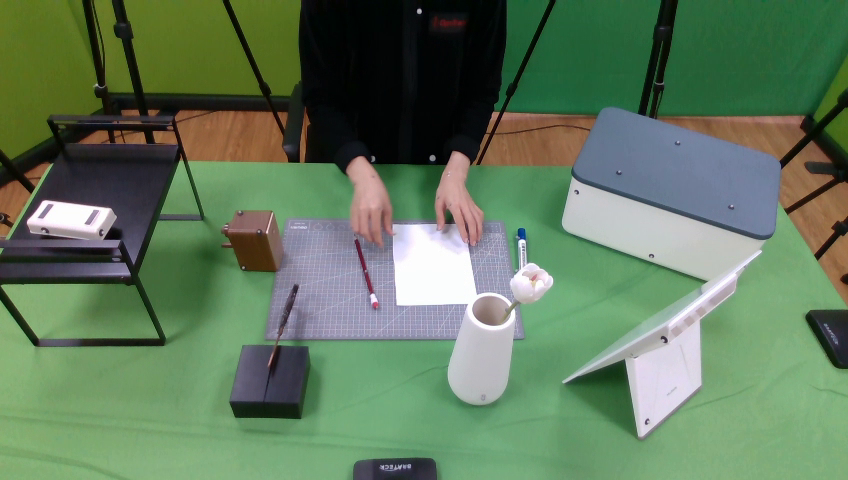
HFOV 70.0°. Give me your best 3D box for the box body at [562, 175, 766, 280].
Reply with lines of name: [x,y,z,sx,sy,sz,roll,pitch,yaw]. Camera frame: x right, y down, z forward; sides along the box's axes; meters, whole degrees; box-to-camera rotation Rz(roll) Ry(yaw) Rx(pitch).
box body: [0.486,-0.088,1.222,0.363,0.161,0.253,20,48,15]

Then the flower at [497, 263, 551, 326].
flower: [0.102,0.121,0.852,0.044,0.363,0.038,-2,64,-10]

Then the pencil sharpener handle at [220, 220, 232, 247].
pencil sharpener handle: [-0.362,-0.009,1.104,0.030,0.068,0.036,0,52,1]

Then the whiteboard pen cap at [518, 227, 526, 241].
whiteboard pen cap: [0.197,-0.009,1.220,0.018,0.018,0.033,5,51,1]

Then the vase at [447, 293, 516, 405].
vase: [0.091,0.169,0.921,0.098,0.201,0.097,3,47,-3]

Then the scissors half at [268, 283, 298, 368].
scissors half: [-0.230,0.135,0.986,0.013,0.040,0.174,19,43,-11]

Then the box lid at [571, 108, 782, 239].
box lid: [0.491,-0.139,1.168,0.370,0.015,0.262,21,49,15]

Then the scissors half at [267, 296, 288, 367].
scissors half: [-0.239,0.150,0.997,0.013,0.040,0.174,24,24,-13]

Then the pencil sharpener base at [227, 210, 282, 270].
pencil sharpener base: [-0.311,0.001,1.112,0.077,0.107,0.061,0,47,1]

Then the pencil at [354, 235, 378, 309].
pencil: [-0.113,0.055,1.142,0.012,0.012,0.192,-10,46,-13]

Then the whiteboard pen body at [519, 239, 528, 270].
whiteboard pen body: [0.193,0.035,1.181,0.017,0.017,0.140,6,48,1]

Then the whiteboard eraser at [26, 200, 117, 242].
whiteboard eraser: [-0.532,-0.026,0.919,0.113,0.042,0.055,7,45,3]

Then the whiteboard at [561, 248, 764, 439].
whiteboard: [0.386,0.176,0.905,0.217,0.306,0.143,-26,72,-27]
